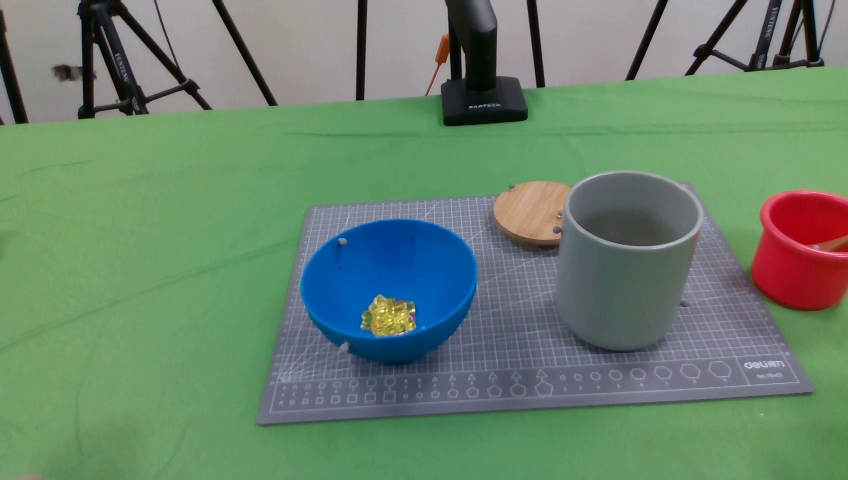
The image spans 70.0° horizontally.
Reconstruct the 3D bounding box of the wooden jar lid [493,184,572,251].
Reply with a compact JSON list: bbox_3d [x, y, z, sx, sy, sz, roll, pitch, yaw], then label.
[{"bbox_3d":[0.130,-0.024,0.663,0.108,0.021,0.107,-3,38,3],"label":"wooden jar lid"}]

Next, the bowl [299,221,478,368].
[{"bbox_3d":[-0.027,0.059,0.532,0.151,0.077,0.150,-3,39,3],"label":"bowl"}]

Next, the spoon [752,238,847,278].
[{"bbox_3d":[0.379,-0.001,0.516,0.022,0.193,0.041,51,51,-7],"label":"spoon"}]

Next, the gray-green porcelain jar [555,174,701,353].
[{"bbox_3d":[0.167,0.025,0.515,0.106,0.127,0.105,-3,39,3],"label":"gray-green porcelain jar"}]
